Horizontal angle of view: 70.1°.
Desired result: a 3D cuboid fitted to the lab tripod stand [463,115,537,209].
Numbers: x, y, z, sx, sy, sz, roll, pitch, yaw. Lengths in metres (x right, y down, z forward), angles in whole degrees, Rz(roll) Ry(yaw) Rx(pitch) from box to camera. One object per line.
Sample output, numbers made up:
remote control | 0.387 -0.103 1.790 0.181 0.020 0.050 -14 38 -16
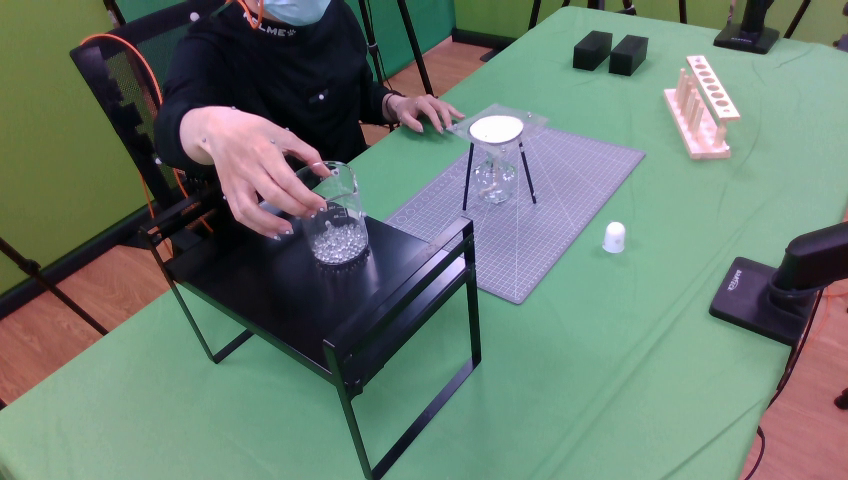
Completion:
lab tripod stand | 0.120 -0.134 1.018 0.148 0.132 0.147 -5 39 5

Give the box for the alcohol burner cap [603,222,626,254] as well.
alcohol burner cap | 0.291 -0.006 0.921 0.034 0.048 0.033 -4 40 4

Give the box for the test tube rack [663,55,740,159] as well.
test tube rack | 0.518 -0.256 1.144 0.066 0.085 0.241 -1 41 8

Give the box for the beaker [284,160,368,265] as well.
beaker | -0.103 -0.028 0.679 0.083 0.101 0.074 12 46 21

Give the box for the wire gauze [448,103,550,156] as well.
wire gauze | 0.119 -0.184 0.973 0.122 0.011 0.124 -34 45 -28

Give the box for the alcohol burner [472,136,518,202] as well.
alcohol burner | 0.121 -0.124 1.023 0.078 0.119 0.077 -3 41 3
